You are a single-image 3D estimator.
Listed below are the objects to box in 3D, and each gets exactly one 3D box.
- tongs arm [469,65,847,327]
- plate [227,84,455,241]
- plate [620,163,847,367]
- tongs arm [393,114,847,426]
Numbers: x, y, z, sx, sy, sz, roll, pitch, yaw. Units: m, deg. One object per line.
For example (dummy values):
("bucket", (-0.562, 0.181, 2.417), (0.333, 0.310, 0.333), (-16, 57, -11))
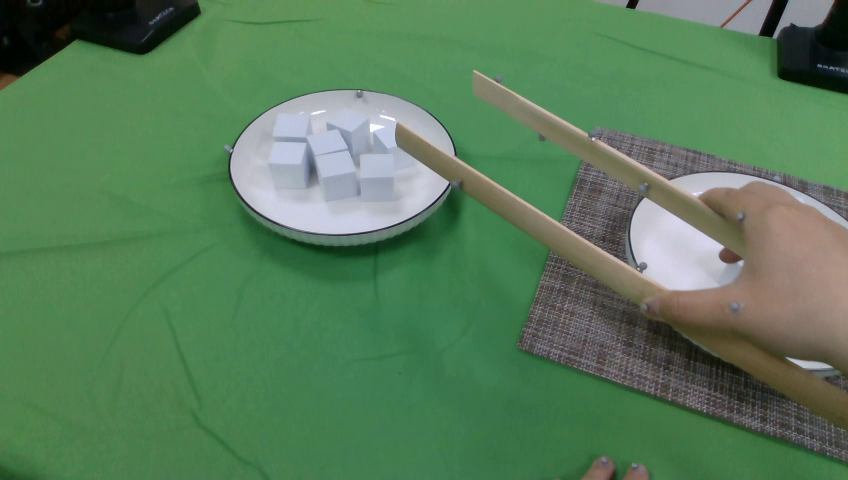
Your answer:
("tongs arm", (0.158, -0.017, 0.402), (0.381, 0.027, 0.051), (38, 61, 26))
("plate", (-0.075, -0.073, 0.570), (0.209, 0.038, 0.207), (2, 48, -2))
("plate", (0.265, 0.019, 0.502), (0.208, 0.039, 0.205), (1, 49, -1))
("tongs arm", (0.124, 0.011, 0.382), (0.384, 0.028, 0.028), (34, 56, 24))
